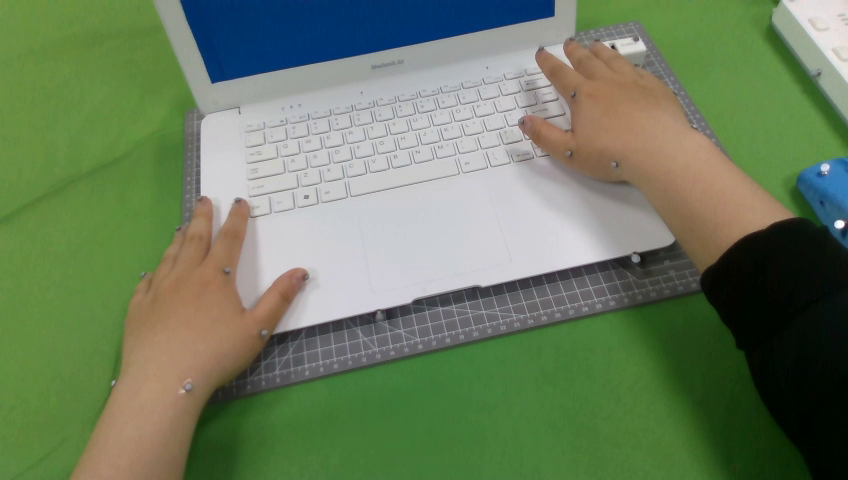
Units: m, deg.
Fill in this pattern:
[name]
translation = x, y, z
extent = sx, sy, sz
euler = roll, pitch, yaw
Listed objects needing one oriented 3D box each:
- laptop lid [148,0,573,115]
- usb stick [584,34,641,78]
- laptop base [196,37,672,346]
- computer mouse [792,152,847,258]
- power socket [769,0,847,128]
[laptop lid]
translation = -0.048, -0.232, 0.485
extent = 0.357, 0.244, 0.013
euler = -14, 43, -2
[usb stick]
translation = 0.162, -0.164, 0.546
extent = 0.059, 0.027, 0.021
euler = -14, 57, 1
[laptop base]
translation = -0.009, -0.054, 0.500
extent = 0.354, 0.023, 0.233
euler = -13, 60, -3
[computer mouse]
translation = 0.325, -0.022, 0.437
extent = 0.063, 0.041, 0.116
euler = -13, 51, 0
[power socket]
translation = 0.377, -0.149, 0.521
extent = 0.072, 0.033, 0.224
euler = -9, 56, 0
